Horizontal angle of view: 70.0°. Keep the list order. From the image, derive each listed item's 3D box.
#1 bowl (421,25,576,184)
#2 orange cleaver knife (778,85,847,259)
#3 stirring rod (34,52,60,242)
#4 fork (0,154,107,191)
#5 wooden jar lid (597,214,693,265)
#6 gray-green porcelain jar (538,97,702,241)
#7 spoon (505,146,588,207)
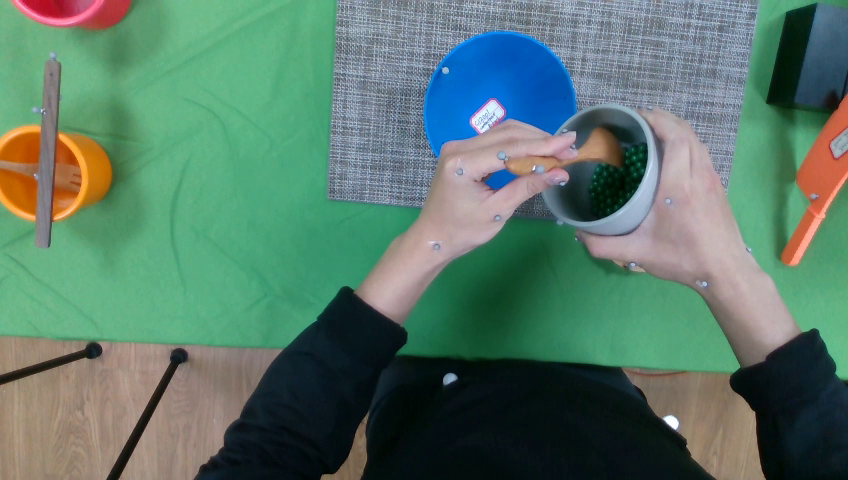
[{"bbox_3d":[0.070,-0.135,0.618,0.151,0.076,0.152,-1,101,-4],"label":"bowl"},{"bbox_3d":[0.432,-0.073,0.660,0.012,0.076,0.213,0,131,-7],"label":"orange cleaver knife"},{"bbox_3d":[-0.351,-0.084,0.563,0.014,0.006,0.176,8,101,-9],"label":"stirring rod"},{"bbox_3d":[-0.404,-0.080,0.561,0.209,0.018,0.028,15,113,-51],"label":"fork"},{"bbox_3d":[0.247,-0.025,0.683,0.108,0.020,0.109,-1,107,-2],"label":"wooden jar lid"},{"bbox_3d":[0.180,-0.057,0.544,0.127,0.105,0.106,14,102,-44],"label":"gray-green porcelain jar"},{"bbox_3d":[0.099,-0.048,0.483,0.021,0.195,0.041,-44,70,20],"label":"spoon"}]
